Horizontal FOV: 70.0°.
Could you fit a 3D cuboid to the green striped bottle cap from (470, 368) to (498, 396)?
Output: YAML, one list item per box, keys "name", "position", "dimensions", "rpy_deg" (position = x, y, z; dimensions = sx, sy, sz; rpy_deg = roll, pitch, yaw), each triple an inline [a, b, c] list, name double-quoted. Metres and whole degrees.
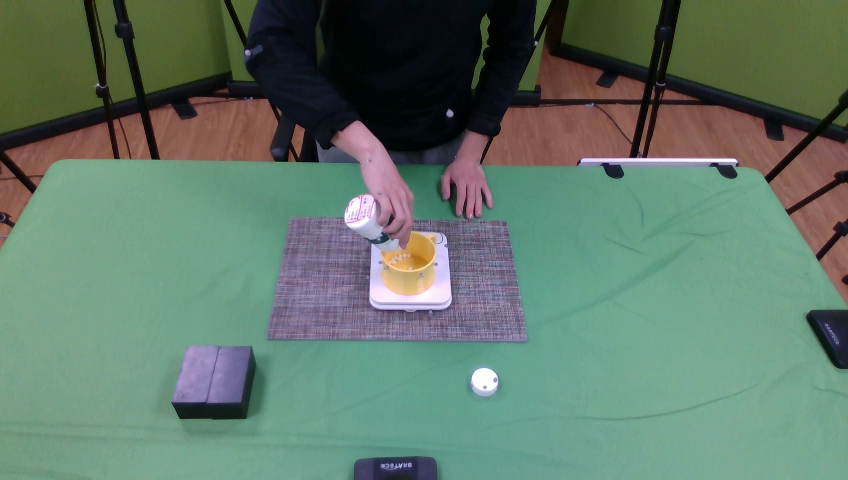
- name: "green striped bottle cap"
  position: [0.098, 0.231, 0.989]
  dimensions: [0.044, 0.020, 0.044]
  rpy_deg: [2, 44, -2]

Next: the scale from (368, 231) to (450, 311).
- name: "scale"
  position: [-0.029, 0.048, 1.137]
  dimensions: [0.149, 0.032, 0.199]
  rpy_deg: [1, 46, -4]

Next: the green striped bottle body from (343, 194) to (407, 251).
- name: "green striped bottle body"
  position: [-0.076, -0.023, 1.010]
  dimensions: [0.063, 0.120, 0.063]
  rpy_deg: [-16, 58, 27]

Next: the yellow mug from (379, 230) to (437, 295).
- name: "yellow mug"
  position: [-0.020, 0.030, 1.089]
  dimensions: [0.099, 0.064, 0.130]
  rpy_deg: [31, 52, 24]
